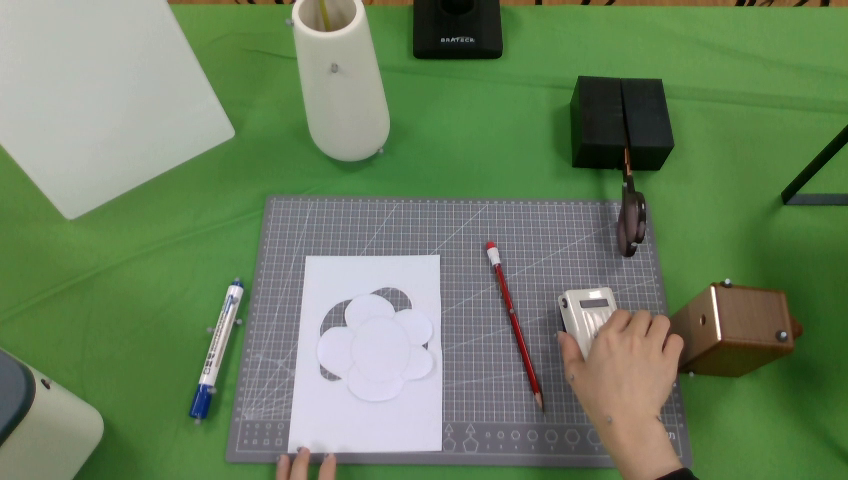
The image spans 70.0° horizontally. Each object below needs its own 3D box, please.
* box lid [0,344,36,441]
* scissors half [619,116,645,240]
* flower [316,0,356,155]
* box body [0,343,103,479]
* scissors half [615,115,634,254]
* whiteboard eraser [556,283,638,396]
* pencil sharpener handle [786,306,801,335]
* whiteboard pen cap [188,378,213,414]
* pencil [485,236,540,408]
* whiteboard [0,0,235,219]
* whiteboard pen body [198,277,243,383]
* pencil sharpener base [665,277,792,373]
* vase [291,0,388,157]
[{"bbox_3d":[-0.511,0.128,0.451,0.370,0.015,0.262,26,66,11],"label":"box lid"},{"bbox_3d":[0.228,-0.076,0.674,0.013,0.040,0.173,6,55,-2],"label":"scissors half"},{"bbox_3d":[-0.100,-0.229,0.599,0.044,0.365,0.038,-6,46,0],"label":"flower"},{"bbox_3d":[-0.509,0.162,0.517,0.363,0.161,0.253,26,67,11],"label":"box body"},{"bbox_3d":[0.228,-0.067,0.692,0.013,0.040,0.174,4,73,3],"label":"scissors half"},{"bbox_3d":[0.174,0.101,0.616,0.056,0.042,0.111,-5,64,-7],"label":"whiteboard eraser"},{"bbox_3d":[0.345,0.087,0.580,0.030,0.068,0.035,5,58,-1],"label":"pencil sharpener handle"},{"bbox_3d":[-0.220,0.154,0.601,0.018,0.018,0.033,6,60,3],"label":"whiteboard pen cap"},{"bbox_3d":[0.094,0.083,0.644,0.012,0.012,0.192,-12,66,-6],"label":"pencil"},{"bbox_3d":[-0.386,-0.218,0.659,0.217,0.309,0.142,-31,48,-14],"label":"whiteboard"},{"bbox_3d":[-0.213,0.103,0.628,0.017,0.017,0.139,7,62,4],"label":"whiteboard pen body"},{"bbox_3d":[0.293,0.086,0.590,0.077,0.108,0.061,5,63,-1],"label":"pencil sharpener base"},{"bbox_3d":[-0.093,-0.180,0.667,0.098,0.201,0.097,0,63,1],"label":"vase"}]
